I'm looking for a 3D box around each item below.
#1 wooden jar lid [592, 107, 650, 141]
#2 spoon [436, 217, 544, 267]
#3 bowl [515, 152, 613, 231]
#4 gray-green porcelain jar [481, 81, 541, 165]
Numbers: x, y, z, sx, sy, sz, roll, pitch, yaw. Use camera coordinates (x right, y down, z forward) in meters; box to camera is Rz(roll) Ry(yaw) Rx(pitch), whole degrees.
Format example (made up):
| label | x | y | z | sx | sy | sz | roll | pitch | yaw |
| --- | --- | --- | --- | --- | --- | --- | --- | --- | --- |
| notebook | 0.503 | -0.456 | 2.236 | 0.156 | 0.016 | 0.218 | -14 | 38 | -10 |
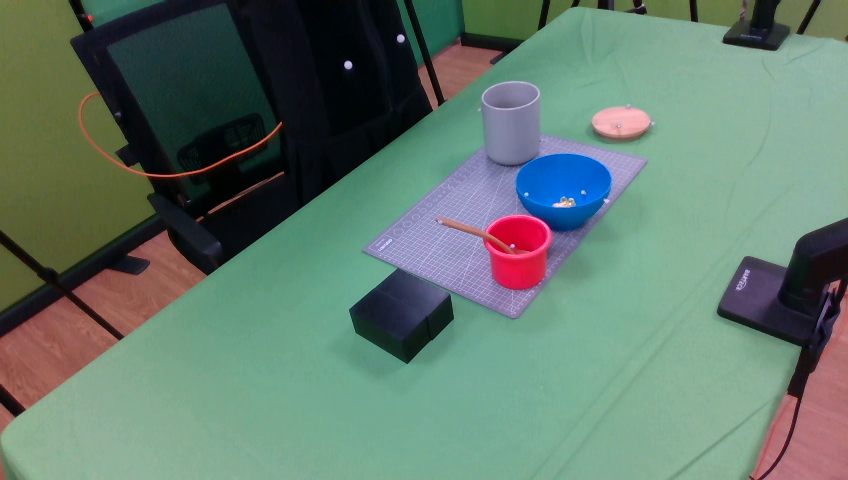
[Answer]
| label | x | y | z | sx | sy | sz | roll | pitch | yaw |
| --- | --- | --- | --- | --- | --- | --- | --- | --- | --- |
| wooden jar lid | 0.382 | -0.225 | 1.178 | 0.108 | 0.021 | 0.108 | -5 | 40 | 4 |
| spoon | 0.097 | 0.001 | 0.864 | 0.195 | 0.021 | 0.041 | 25 | 24 | -30 |
| bowl | 0.224 | -0.068 | 0.972 | 0.151 | 0.077 | 0.150 | -5 | 40 | 5 |
| gray-green porcelain jar | 0.162 | -0.212 | 1.116 | 0.106 | 0.127 | 0.105 | -5 | 40 | 5 |
